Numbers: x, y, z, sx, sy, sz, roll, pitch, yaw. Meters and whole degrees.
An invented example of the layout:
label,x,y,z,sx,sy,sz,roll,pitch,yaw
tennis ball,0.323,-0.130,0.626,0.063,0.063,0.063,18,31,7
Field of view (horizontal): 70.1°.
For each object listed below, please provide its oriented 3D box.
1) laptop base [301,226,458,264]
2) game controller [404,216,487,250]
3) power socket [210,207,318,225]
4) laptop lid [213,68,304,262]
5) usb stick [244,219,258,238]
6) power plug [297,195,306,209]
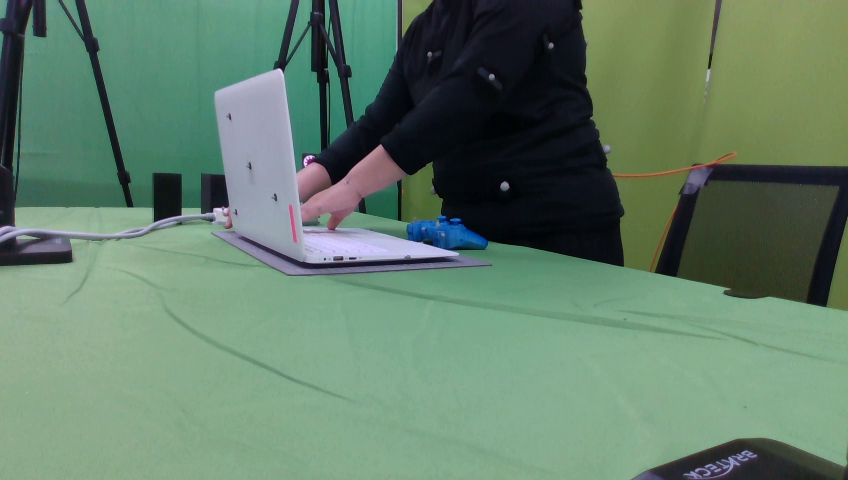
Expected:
label,x,y,z,sx,sy,sz,roll,pitch,yaw
laptop base,-0.137,0.006,0.951,0.237,0.023,0.352,2,6,-32
game controller,0.033,-0.013,1.067,0.097,0.051,0.154,-8,11,-29
power socket,-0.335,-0.051,1.280,0.228,0.032,0.072,-1,9,-29
laptop lid,-0.248,-0.107,0.865,0.013,0.241,0.355,-11,14,-30
usb stick,-0.309,-0.021,1.078,0.021,0.027,0.059,9,-10,-14
power plug,-0.284,-0.075,1.341,0.035,0.052,0.072,0,4,-19
